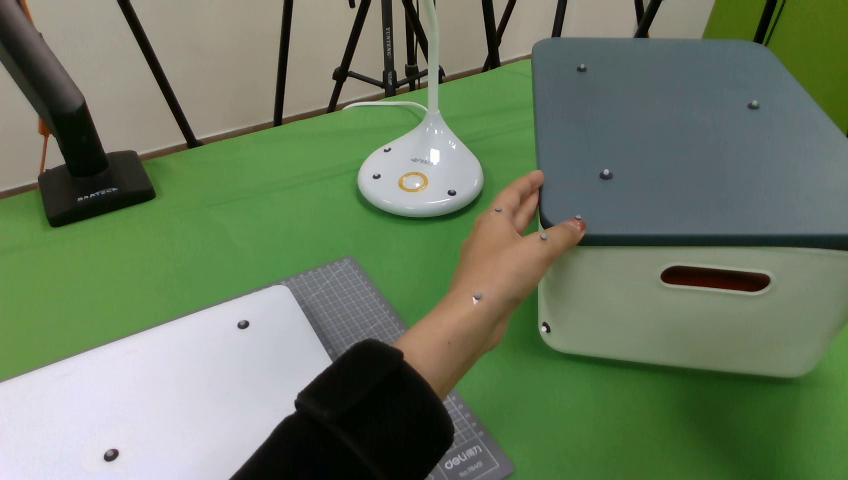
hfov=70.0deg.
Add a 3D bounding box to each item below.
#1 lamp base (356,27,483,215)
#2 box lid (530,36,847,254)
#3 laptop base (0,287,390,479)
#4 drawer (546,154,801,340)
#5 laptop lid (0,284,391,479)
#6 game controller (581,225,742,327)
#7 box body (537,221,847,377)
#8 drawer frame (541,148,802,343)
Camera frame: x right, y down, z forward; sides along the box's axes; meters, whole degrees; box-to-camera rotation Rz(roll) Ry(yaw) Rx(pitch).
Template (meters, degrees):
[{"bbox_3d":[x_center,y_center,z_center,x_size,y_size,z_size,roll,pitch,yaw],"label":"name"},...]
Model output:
[{"bbox_3d":[-0.005,-0.149,0.727,0.160,0.182,0.178,5,37,6],"label":"lamp base"},{"bbox_3d":[0.234,-0.112,0.565,0.263,0.015,0.368,1,40,7],"label":"box lid"},{"bbox_3d":[-0.232,0.169,0.461,0.355,0.023,0.233,-20,47,-24],"label":"laptop base"},{"bbox_3d":[0.232,-0.003,0.613,0.194,0.074,0.210,4,39,2],"label":"drawer"},{"bbox_3d":[-0.230,0.161,0.452,0.357,0.013,0.239,-19,45,-22],"label":"laptop lid"},{"bbox_3d":[0.231,0.033,0.589,0.155,0.052,0.096,1,68,0],"label":"game controller"},{"bbox_3d":[0.247,-0.049,0.622,0.254,0.162,0.361,5,39,6],"label":"box body"},{"bbox_3d":[0.228,-0.004,0.615,0.201,0.083,0.211,3,38,2],"label":"drawer frame"}]
